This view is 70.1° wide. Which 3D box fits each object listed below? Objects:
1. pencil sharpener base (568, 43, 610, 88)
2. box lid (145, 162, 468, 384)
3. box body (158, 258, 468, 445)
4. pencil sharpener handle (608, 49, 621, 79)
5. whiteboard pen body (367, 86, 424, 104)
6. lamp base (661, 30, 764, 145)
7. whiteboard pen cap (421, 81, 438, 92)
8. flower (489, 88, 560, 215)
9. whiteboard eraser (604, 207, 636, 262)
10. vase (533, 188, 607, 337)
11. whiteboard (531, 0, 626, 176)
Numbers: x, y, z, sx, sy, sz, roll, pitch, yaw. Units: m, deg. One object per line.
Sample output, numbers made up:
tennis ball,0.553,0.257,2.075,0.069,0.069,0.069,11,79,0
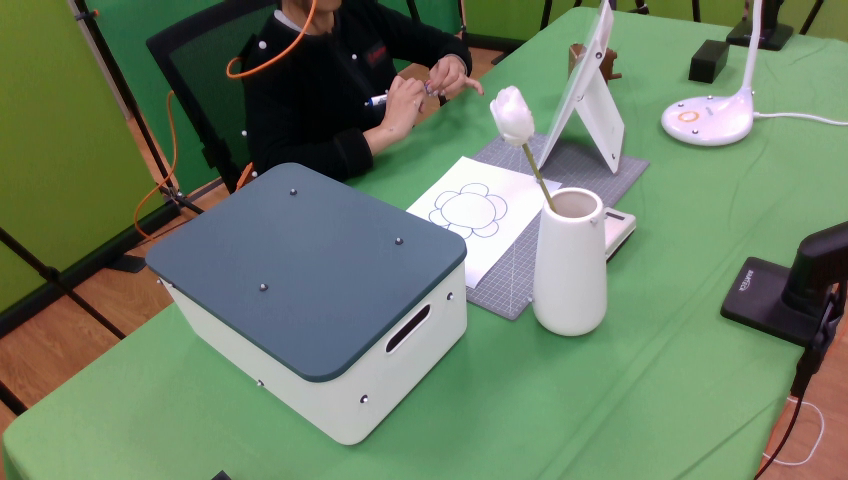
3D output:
pencil sharpener base,0.345,-0.352,1.263,0.077,0.107,0.061,-8,40,1
box lid,-0.157,0.014,0.769,0.368,0.015,0.264,25,51,33
box body,-0.147,0.072,0.816,0.361,0.161,0.255,24,50,33
pencil sharpener handle,0.394,-0.368,1.253,0.030,0.068,0.036,-8,32,1
whiteboard pen body,-0.046,-0.293,1.213,0.141,0.017,0.017,-16,41,-16
lamp base,0.535,-0.287,1.096,0.179,0.181,0.159,-10,40,-4
whiteboard pen cap,0.010,-0.311,1.231,0.033,0.018,0.018,-19,41,-12
flower,0.158,-0.028,0.720,0.038,0.364,0.044,-14,44,23
whiteboard eraser,0.272,-0.003,0.919,0.055,0.042,0.113,27,51,32
vase,0.187,0.033,0.771,0.098,0.201,0.097,-6,41,6
whiteboard,0.320,-0.259,1.050,0.144,0.306,0.217,22,45,6
